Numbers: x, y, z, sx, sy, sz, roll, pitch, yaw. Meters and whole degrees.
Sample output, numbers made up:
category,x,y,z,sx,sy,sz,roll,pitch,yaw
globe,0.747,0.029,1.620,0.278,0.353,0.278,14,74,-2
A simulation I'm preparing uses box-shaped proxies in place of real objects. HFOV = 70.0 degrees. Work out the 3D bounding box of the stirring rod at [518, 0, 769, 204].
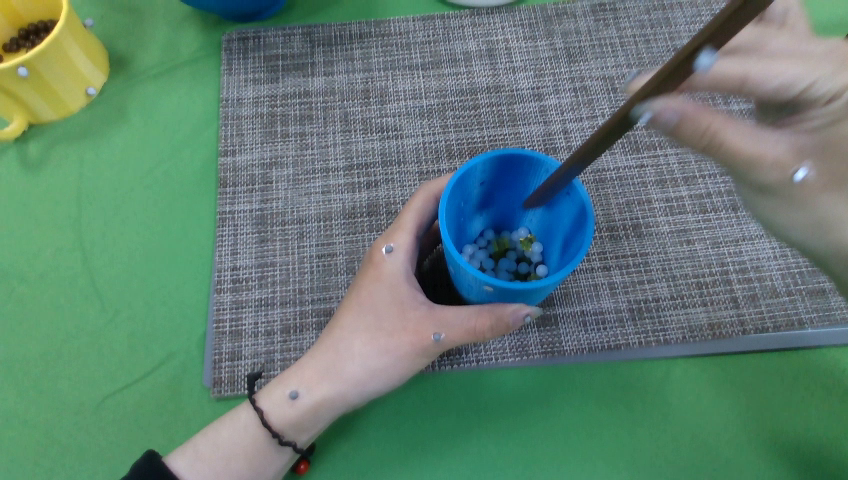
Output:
category,x,y,z,sx,sy,sz,roll,pitch,yaw
stirring rod,0.087,-0.055,0.269,0.014,0.176,0.006,-8,71,-23

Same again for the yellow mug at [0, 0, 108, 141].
category,x,y,z,sx,sy,sz,roll,pitch,yaw
yellow mug,-0.311,-0.137,0.460,0.100,0.064,0.130,6,67,3

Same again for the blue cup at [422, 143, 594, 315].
category,x,y,z,sx,sy,sz,roll,pitch,yaw
blue cup,0.050,0.004,0.372,0.092,0.101,0.092,0,68,1

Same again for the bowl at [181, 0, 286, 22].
category,x,y,z,sx,sy,sz,roll,pitch,yaw
bowl,-0.155,-0.236,0.497,0.151,0.077,0.150,0,66,0

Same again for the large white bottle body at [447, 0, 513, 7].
category,x,y,z,sx,sy,sz,roll,pitch,yaw
large white bottle body,0.047,-0.292,0.460,0.130,0.186,0.129,0,66,1
